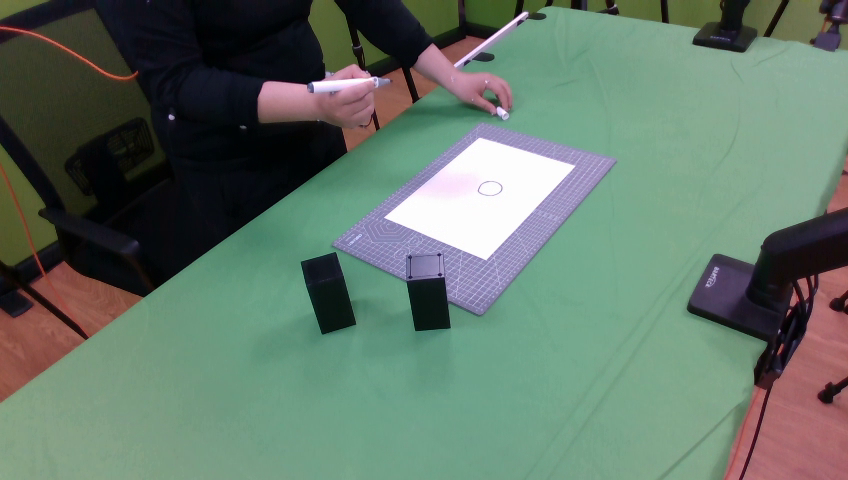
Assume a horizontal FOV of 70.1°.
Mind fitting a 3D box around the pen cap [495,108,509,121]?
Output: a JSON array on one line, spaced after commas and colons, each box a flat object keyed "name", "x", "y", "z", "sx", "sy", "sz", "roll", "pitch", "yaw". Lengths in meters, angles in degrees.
[{"name": "pen cap", "x": 0.162, "y": -0.263, "z": 1.261, "sx": 0.017, "sy": 0.017, "sz": 0.038, "roll": -19, "pitch": 38, "yaw": -13}]

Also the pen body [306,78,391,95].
[{"name": "pen body", "x": -0.110, "y": -0.234, "z": 0.917, "sx": 0.145, "sy": 0.017, "sz": 0.016, "roll": -15, "pitch": 38, "yaw": -33}]
